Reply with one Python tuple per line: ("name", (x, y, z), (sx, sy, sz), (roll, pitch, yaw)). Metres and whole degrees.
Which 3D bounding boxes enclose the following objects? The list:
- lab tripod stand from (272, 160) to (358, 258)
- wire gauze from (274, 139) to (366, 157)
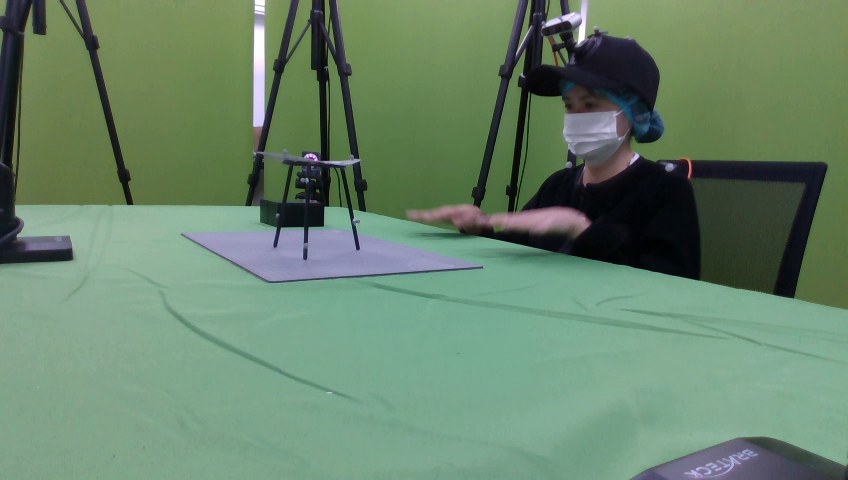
("lab tripod stand", (-0.159, -0.048, 0.876), (0.148, 0.131, 0.148), (3, 5, 0))
("wire gauze", (-0.153, -0.130, 0.869), (0.122, 0.011, 0.124), (-3, 1, -15))
